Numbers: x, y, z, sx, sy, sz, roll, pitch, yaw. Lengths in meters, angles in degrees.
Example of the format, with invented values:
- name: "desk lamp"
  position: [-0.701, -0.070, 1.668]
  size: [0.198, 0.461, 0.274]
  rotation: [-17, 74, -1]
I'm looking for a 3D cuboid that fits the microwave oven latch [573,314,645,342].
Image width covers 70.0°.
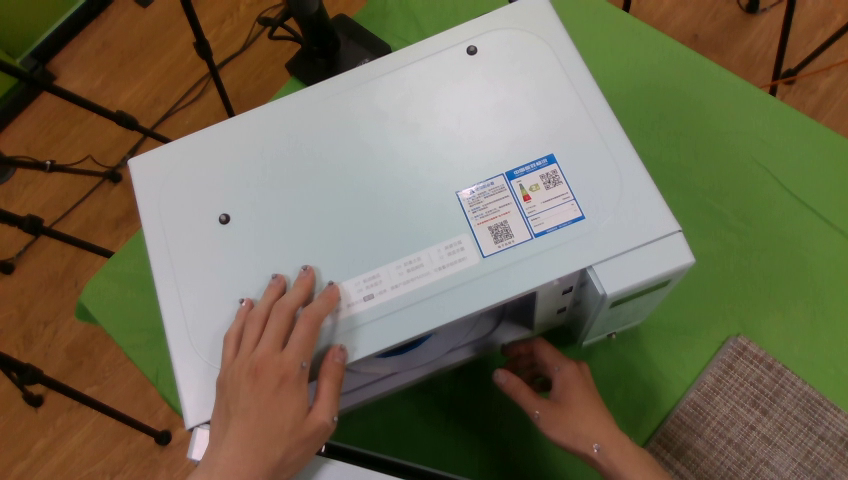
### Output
- name: "microwave oven latch"
  position: [0.211, 0.089, 0.689]
  size: [0.079, 0.030, 0.030]
  rotation: [-21, 70, 1]

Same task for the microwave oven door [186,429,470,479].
- name: "microwave oven door"
  position: [-0.004, 0.233, 0.561]
  size: [0.355, 0.245, 0.039]
  rotation: [11, 72, 12]

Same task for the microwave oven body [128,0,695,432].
- name: "microwave oven body"
  position: [-0.020, -0.004, 0.651]
  size: [0.442, 0.262, 0.323]
  rotation: [-22, 70, 1]
